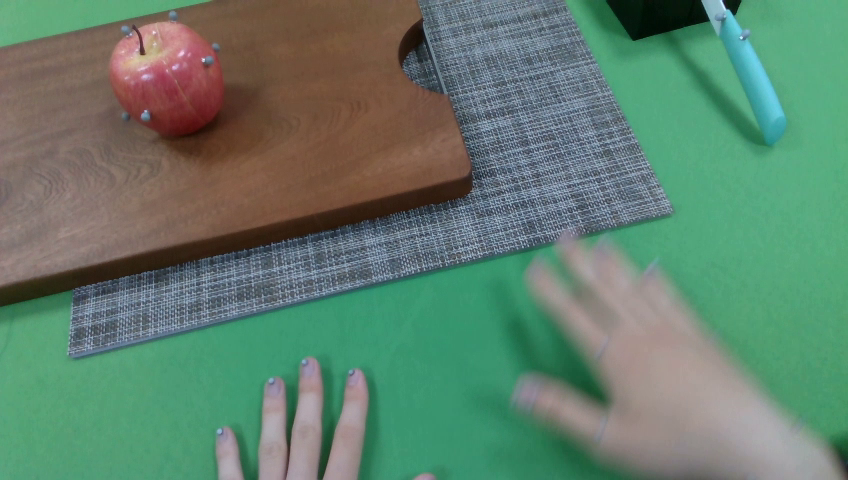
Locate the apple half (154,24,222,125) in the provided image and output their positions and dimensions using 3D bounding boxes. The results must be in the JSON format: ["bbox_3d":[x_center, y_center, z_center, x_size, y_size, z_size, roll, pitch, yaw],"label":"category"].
[{"bbox_3d":[-0.176,-0.132,0.475,0.033,0.082,0.080,-25,60,-4],"label":"apple half"}]

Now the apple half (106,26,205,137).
[{"bbox_3d":[-0.212,-0.116,0.470,0.053,0.075,0.080,-24,64,-4],"label":"apple half"}]

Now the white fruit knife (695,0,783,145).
[{"bbox_3d":[0.242,-0.174,0.495,0.016,0.027,0.206,-16,74,-5],"label":"white fruit knife"}]
